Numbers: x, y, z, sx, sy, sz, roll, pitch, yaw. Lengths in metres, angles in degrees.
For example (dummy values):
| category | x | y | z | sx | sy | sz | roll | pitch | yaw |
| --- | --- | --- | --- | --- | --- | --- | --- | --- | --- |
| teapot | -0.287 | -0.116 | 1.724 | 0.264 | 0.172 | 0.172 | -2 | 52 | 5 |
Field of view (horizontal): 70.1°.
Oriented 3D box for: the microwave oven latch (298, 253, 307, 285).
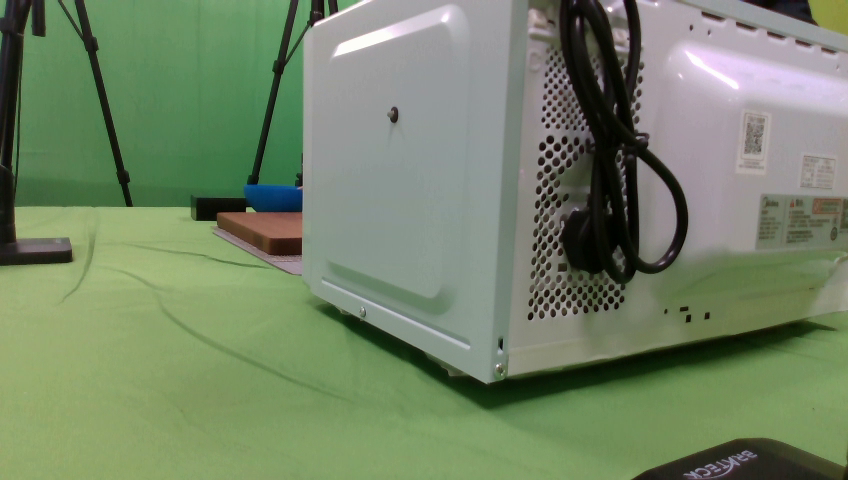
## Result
| category | x | y | z | sx | sy | sz | roll | pitch | yaw |
| --- | --- | --- | --- | --- | --- | --- | --- | --- | --- |
| microwave oven latch | -0.081 | 0.027 | 0.583 | 0.079 | 0.029 | 0.030 | -1 | 7 | -32 |

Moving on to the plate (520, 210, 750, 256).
| category | x | y | z | sx | sy | sz | roll | pitch | yaw |
| --- | --- | --- | --- | --- | --- | --- | --- | --- | --- |
| plate | 0.198 | -0.009 | 0.587 | 0.208 | 0.039 | 0.207 | 0 | 4 | 0 |

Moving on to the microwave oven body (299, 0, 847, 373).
| category | x | y | z | sx | sy | sz | roll | pitch | yaw |
| --- | --- | --- | --- | --- | --- | --- | --- | --- | --- |
| microwave oven body | 0.151 | -0.055 | 0.543 | 0.444 | 0.260 | 0.324 | -2 | 7 | -33 |

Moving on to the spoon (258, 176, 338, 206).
| category | x | y | z | sx | sy | sz | roll | pitch | yaw |
| --- | --- | --- | --- | --- | --- | --- | --- | --- | --- |
| spoon | -0.279 | -0.112 | 1.356 | 0.194 | 0.021 | 0.041 | -27 | 19 | -27 |

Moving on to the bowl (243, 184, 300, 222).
| category | x | y | z | sx | sy | sz | roll | pitch | yaw |
| --- | --- | --- | --- | --- | --- | --- | --- | --- | --- |
| bowl | -0.322 | -0.081 | 1.333 | 0.151 | 0.077 | 0.151 | 3 | 8 | 0 |

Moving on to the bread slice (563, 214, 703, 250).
| category | x | y | z | sx | sy | sz | roll | pitch | yaw |
| --- | --- | --- | --- | --- | --- | --- | --- | --- | --- |
| bread slice | 0.203 | -0.010 | 0.579 | 0.105 | 0.019 | 0.131 | 2 | 9 | -5 |

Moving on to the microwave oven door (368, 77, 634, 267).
| category | x | y | z | sx | sy | sz | roll | pitch | yaw |
| --- | --- | --- | --- | --- | --- | --- | --- | --- | --- |
| microwave oven door | 0.094 | -0.099 | 0.832 | 0.355 | 0.243 | 0.039 | 4 | 7 | 18 |

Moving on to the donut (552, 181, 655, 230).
| category | x | y | z | sx | sy | sz | roll | pitch | yaw |
| --- | --- | --- | --- | --- | --- | --- | --- | --- | --- |
| donut | 0.177 | -0.034 | 0.599 | 0.099 | 0.048 | 0.099 | -2 | 7 | 1 |

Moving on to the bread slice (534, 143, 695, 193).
| category | x | y | z | sx | sy | sz | roll | pitch | yaw |
| --- | --- | --- | --- | --- | --- | --- | --- | --- | --- |
| bread slice | 0.187 | -0.070 | 0.579 | 0.107 | 0.018 | 0.133 | 2 | 17 | -29 |
